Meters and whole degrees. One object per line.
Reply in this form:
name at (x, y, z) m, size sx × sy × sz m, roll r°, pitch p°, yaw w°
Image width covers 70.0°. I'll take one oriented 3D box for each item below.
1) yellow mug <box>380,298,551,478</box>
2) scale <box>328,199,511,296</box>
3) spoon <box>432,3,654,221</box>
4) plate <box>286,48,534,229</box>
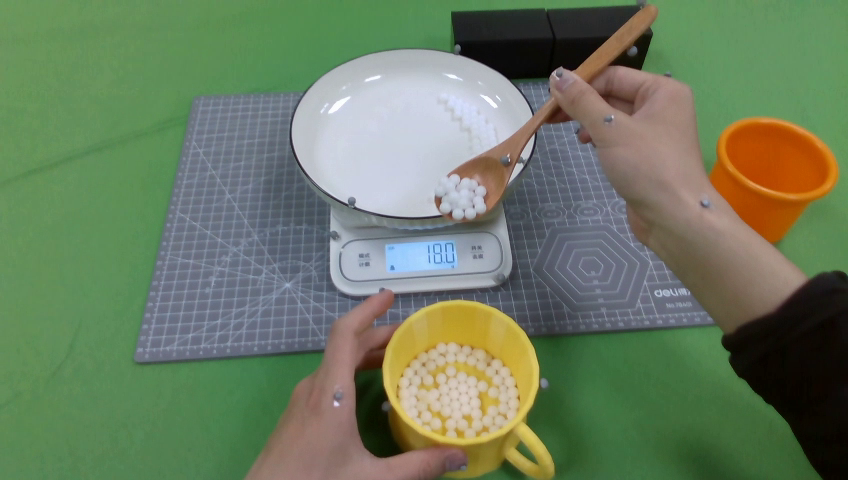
yellow mug at (0.033, 0.107, 0.403) m, size 0.100 × 0.064 × 0.130 m, roll -39°, pitch 64°, yaw -24°
scale at (-0.009, -0.045, 0.531) m, size 0.149 × 0.032 × 0.199 m, roll -4°, pitch 54°, yaw -2°
spoon at (0.080, -0.084, 0.402) m, size 0.194 × 0.022 × 0.041 m, roll -45°, pitch 65°, yaw 9°
plate at (-0.011, -0.088, 0.522) m, size 0.209 × 0.038 × 0.207 m, roll 1°, pitch 54°, yaw -1°
